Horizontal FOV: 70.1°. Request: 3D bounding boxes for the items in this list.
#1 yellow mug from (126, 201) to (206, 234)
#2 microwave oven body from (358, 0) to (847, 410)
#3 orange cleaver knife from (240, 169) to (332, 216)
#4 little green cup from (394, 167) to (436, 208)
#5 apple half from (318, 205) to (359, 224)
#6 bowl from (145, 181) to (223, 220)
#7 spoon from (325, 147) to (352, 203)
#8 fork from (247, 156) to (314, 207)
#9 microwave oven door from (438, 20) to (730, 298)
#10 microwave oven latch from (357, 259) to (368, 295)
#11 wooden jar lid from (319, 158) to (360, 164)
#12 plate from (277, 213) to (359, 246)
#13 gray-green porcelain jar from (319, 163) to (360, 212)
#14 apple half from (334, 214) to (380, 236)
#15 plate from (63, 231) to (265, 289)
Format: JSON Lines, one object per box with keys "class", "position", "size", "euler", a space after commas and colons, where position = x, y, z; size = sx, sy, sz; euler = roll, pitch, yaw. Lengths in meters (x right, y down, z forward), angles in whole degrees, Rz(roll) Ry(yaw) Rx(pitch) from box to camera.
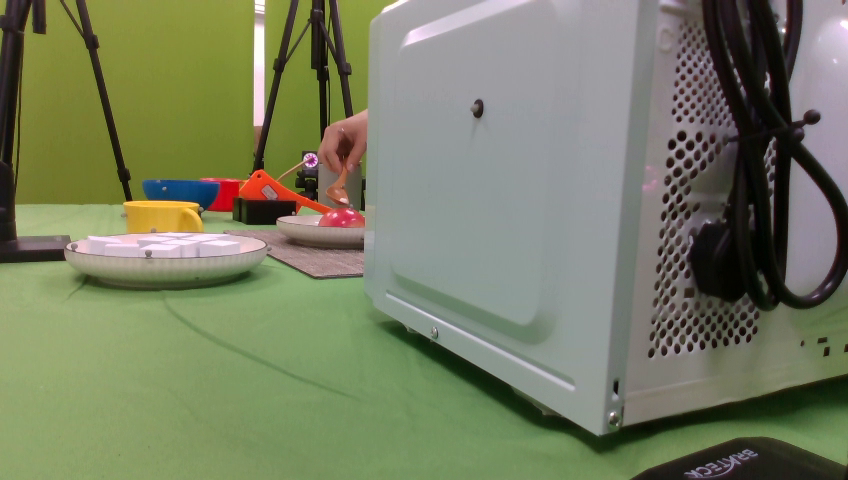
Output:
{"class": "yellow mug", "position": [-0.360, -0.019, 0.866], "size": [0.130, 0.064, 0.100], "euler": [6, 9, 27]}
{"class": "microwave oven body", "position": [0.210, -0.051, 0.471], "size": [0.444, 0.260, 0.324], "euler": [-1, 7, -28]}
{"class": "orange cleaver knife", "position": [-0.286, -0.082, 1.298], "size": [0.212, 0.077, 0.012], "euler": [25, -2, -31]}
{"class": "little green cup", "position": [-0.012, -0.080, 0.943], "size": [0.061, 0.038, 0.061], "euler": [-39, -7, -5]}
{"class": "apple half", "position": [-0.126, -0.029, 0.954], "size": [0.081, 0.053, 0.074], "euler": [-2, 11, -32]}
{"class": "bowl", "position": [-0.499, -0.081, 1.261], "size": [0.151, 0.077, 0.151], "euler": [2, 7, 0]}
{"class": "spoon", "position": [-0.136, -0.113, 1.018], "size": [0.042, 0.021, 0.193], "euler": [20, 35, -12]}
{"class": "fork", "position": [-0.360, -0.147, 1.523], "size": [0.207, 0.019, 0.028], "euler": [-43, 16, -7]}
{"class": "microwave oven door", "position": [0.181, -0.076, 0.618], "size": [0.358, 0.243, 0.039], "euler": [-2, 8, -28]}
{"class": "microwave oven latch", "position": [-0.019, 0.031, 0.529], "size": [0.079, 0.029, 0.030], "euler": [-1, 7, -26]}
{"class": "wooden jar lid", "position": [-0.203, -0.189, 1.482], "size": [0.108, 0.020, 0.108], "euler": [2, 10, 0]}
{"class": "plate", "position": [-0.135, -0.018, 0.993], "size": [0.209, 0.038, 0.209], "euler": [2, 7, 0]}
{"class": "gray-green porcelain jar", "position": [-0.204, -0.126, 1.489], "size": [0.106, 0.126, 0.106], "euler": [2, 7, 0]}
{"class": "apple half", "position": [-0.112, -0.028, 1.034], "size": [0.081, 0.033, 0.081], "euler": [0, 10, 0]}
{"class": "plate", "position": [-0.288, 0.021, 0.687], "size": [0.208, 0.039, 0.207], "euler": [2, 8, 0]}
